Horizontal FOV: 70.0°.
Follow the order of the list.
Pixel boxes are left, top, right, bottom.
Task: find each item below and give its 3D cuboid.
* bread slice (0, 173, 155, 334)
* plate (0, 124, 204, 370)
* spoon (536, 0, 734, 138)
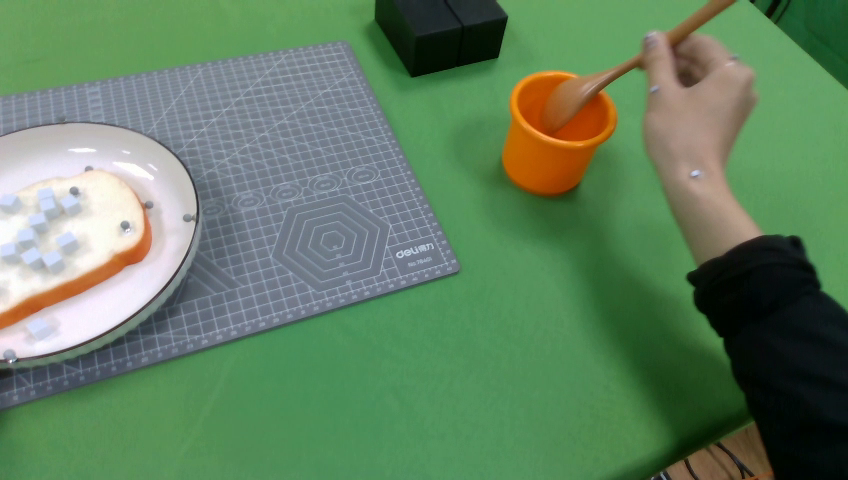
[{"bbox_3d":[-0.272,-0.001,0.447,0.131,0.019,0.104,-30,64,-23],"label":"bread slice"},{"bbox_3d":[-0.268,0.001,0.443,0.209,0.038,0.207,4,55,-5],"label":"plate"},{"bbox_3d":[0.162,-0.141,0.483,0.022,0.193,0.041,20,52,-39],"label":"spoon"}]
